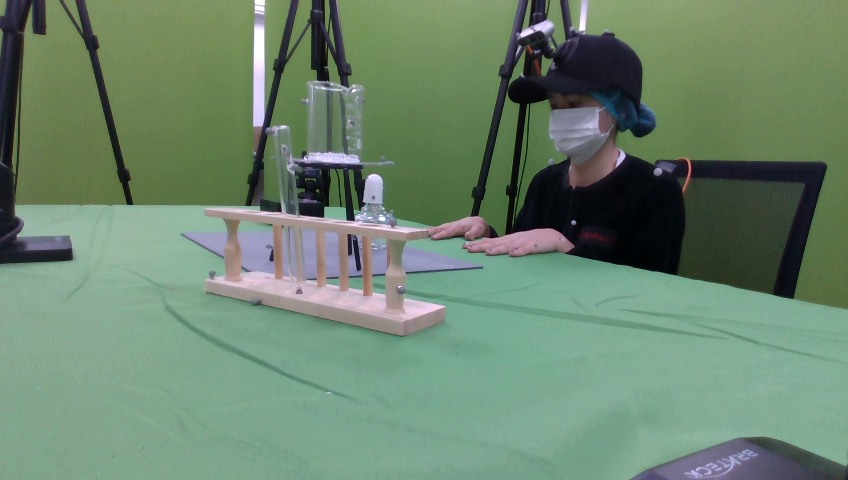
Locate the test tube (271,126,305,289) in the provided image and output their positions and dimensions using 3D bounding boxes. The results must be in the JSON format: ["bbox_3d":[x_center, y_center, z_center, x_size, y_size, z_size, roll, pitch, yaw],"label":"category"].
[{"bbox_3d":[-0.124,-0.028,0.554,0.017,0.150,0.017,-5,7,1],"label":"test tube"}]

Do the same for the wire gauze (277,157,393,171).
[{"bbox_3d":[-0.122,-0.100,0.786,0.122,0.011,0.124,-5,14,-38],"label":"wire gauze"}]

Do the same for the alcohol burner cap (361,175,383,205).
[{"bbox_3d":[-0.080,-0.078,0.944,0.034,0.048,0.034,5,7,0],"label":"alcohol burner cap"}]

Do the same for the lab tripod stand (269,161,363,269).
[{"bbox_3d":[-0.125,-0.036,0.794,0.148,0.131,0.148,5,7,0],"label":"lab tripod stand"}]

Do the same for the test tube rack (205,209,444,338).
[{"bbox_3d":[-0.100,0.021,0.565,0.241,0.085,0.067,7,8,32],"label":"test tube rack"}]

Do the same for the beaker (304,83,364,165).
[{"bbox_3d":[-0.115,-0.148,0.779,0.074,0.100,0.083,-2,10,-30],"label":"beaker"}]

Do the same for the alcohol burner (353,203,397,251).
[{"bbox_3d":[-0.082,-0.043,0.950,0.078,0.119,0.078,1,8,0],"label":"alcohol burner"}]
